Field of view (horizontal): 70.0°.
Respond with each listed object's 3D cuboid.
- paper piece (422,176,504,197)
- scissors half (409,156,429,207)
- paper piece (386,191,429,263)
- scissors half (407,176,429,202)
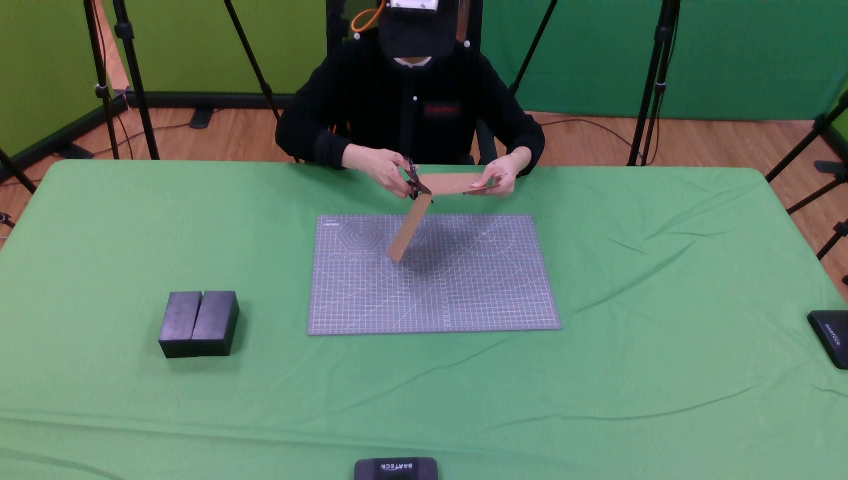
[{"bbox_3d":[0.063,-0.100,1.128,0.136,0.004,0.135,-9,16,-13],"label":"paper piece"},{"bbox_3d":[-0.007,-0.110,1.134,0.013,0.040,0.174,2,37,-15],"label":"scissors half"},{"bbox_3d":[-0.031,-0.027,1.112,0.008,0.136,0.138,26,90,-10],"label":"paper piece"},{"bbox_3d":[-0.010,-0.091,1.144,0.013,0.040,0.174,-2,14,-12],"label":"scissors half"}]
